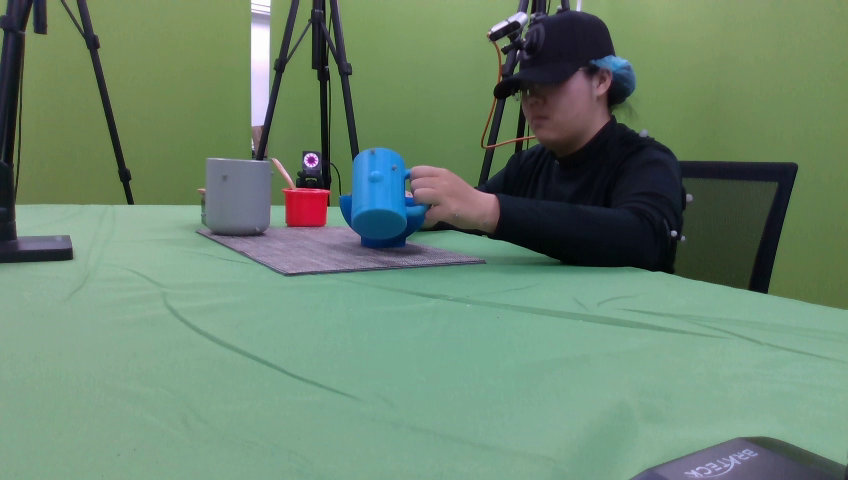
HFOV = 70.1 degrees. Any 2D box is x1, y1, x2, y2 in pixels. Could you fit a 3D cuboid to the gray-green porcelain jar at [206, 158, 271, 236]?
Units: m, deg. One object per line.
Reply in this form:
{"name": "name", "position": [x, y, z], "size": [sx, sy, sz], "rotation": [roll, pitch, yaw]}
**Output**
{"name": "gray-green porcelain jar", "position": [-0.316, -0.074, 1.032], "size": [0.106, 0.126, 0.106], "rotation": [3, 7, 0]}

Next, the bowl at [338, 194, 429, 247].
{"name": "bowl", "position": [-0.066, -0.031, 0.984], "size": [0.151, 0.077, 0.151], "rotation": [2, 7, 0]}

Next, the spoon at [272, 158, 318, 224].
{"name": "spoon", "position": [-0.268, -0.103, 1.236], "size": [0.042, 0.193, 0.021], "rotation": [-10, -32, -40]}

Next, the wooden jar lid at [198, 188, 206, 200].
{"name": "wooden jar lid", "position": [-0.382, -0.088, 1.175], "size": [0.108, 0.020, 0.108], "rotation": [3, 8, 0]}

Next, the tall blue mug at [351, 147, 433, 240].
{"name": "tall blue mug", "position": [-0.049, -0.063, 0.856], "size": [0.108, 0.107, 0.077], "rotation": [12, -36, -23]}
